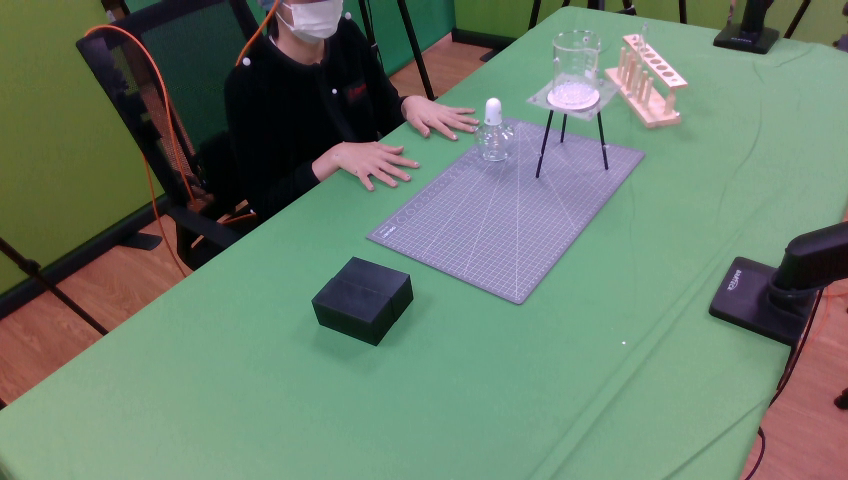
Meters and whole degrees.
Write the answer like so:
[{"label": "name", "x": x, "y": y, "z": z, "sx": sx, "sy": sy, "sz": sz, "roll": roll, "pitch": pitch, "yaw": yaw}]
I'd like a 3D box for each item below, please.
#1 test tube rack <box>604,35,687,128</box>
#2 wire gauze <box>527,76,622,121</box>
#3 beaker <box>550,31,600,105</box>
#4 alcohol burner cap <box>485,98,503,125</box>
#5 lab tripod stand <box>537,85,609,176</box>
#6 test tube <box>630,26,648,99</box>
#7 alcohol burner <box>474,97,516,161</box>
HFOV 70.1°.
[{"label": "test tube rack", "x": 0.447, "y": -0.330, "z": 1.242, "sx": 0.067, "sy": 0.085, "sz": 0.241, "roll": -9, "pitch": 41, "yaw": -2}, {"label": "wire gauze", "x": 0.255, "y": -0.247, "z": 1.030, "sx": 0.124, "sy": 0.011, "sz": 0.122, "roll": 23, "pitch": 49, "yaw": 34}, {"label": "beaker", "x": 0.250, "y": -0.281, "z": 0.996, "sx": 0.074, "sy": 0.101, "sz": 0.083, "roll": -37, "pitch": 49, "yaw": -27}, {"label": "alcohol burner cap", "x": 0.126, "y": -0.234, "z": 1.097, "sx": 0.034, "sy": 0.048, "sz": 0.033, "roll": -3, "pitch": 39, "yaw": 3}, {"label": "lab tripod stand", "x": 0.259, "y": -0.192, "z": 1.068, "sx": 0.148, "sy": 0.132, "sz": 0.147, "roll": -4, "pitch": 43, "yaw": 4}, {"label": "test tube", "x": 0.426, "y": -0.350, "z": 1.199, "sx": 0.017, "sy": 0.151, "sz": 0.017, "roll": -4, "pitch": 42, "yaw": 4}, {"label": "alcohol burner", "x": 0.131, "y": -0.208, "z": 1.121, "sx": 0.078, "sy": 0.119, "sz": 0.077, "roll": -6, "pitch": 40, "yaw": 5}]
